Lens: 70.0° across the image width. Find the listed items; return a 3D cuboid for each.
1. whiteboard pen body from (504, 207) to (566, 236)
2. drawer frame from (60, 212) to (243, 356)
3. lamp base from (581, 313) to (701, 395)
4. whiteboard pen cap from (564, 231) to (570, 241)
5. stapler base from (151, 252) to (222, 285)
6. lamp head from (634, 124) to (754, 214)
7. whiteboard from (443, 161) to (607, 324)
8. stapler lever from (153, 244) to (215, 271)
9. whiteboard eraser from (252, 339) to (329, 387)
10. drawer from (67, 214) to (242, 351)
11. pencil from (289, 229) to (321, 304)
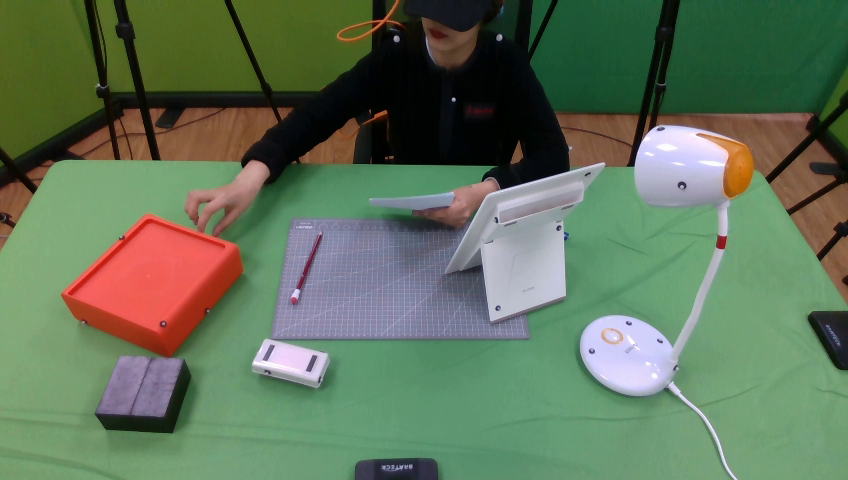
[{"bbox_3d":[0.228,-0.037,1.247,0.140,0.017,0.017,25,49,24],"label":"whiteboard pen body"},{"bbox_3d":[-0.462,0.070,1.053,0.201,0.083,0.213,18,48,12],"label":"drawer frame"},{"bbox_3d":[0.361,0.144,0.973,0.178,0.181,0.160,34,53,23],"label":"lamp base"},{"bbox_3d":[0.276,-0.014,1.223,0.033,0.018,0.018,32,52,20],"label":"whiteboard pen cap"},{"bbox_3d":[-0.432,0.047,1.102,0.130,0.024,0.041,16,33,12],"label":"stapler base"},{"bbox_3d":[0.351,-0.089,0.776,0.112,0.113,0.122,-30,30,-28],"label":"lamp head"},{"bbox_3d":[0.185,0.026,1.028,0.217,0.306,0.143,-15,68,-18],"label":"whiteboard"},{"bbox_3d":[-0.431,0.026,1.088,0.118,0.040,0.027,15,33,12],"label":"stapler lever"},{"bbox_3d":[-0.215,0.199,0.976,0.112,0.042,0.055,12,45,7],"label":"whiteboard eraser"},{"bbox_3d":[-0.461,0.068,1.056,0.194,0.073,0.211,19,48,13],"label":"drawer"},{"bbox_3d":[-0.220,0.045,1.141,0.012,0.012,0.193,8,45,4],"label":"pencil"}]
